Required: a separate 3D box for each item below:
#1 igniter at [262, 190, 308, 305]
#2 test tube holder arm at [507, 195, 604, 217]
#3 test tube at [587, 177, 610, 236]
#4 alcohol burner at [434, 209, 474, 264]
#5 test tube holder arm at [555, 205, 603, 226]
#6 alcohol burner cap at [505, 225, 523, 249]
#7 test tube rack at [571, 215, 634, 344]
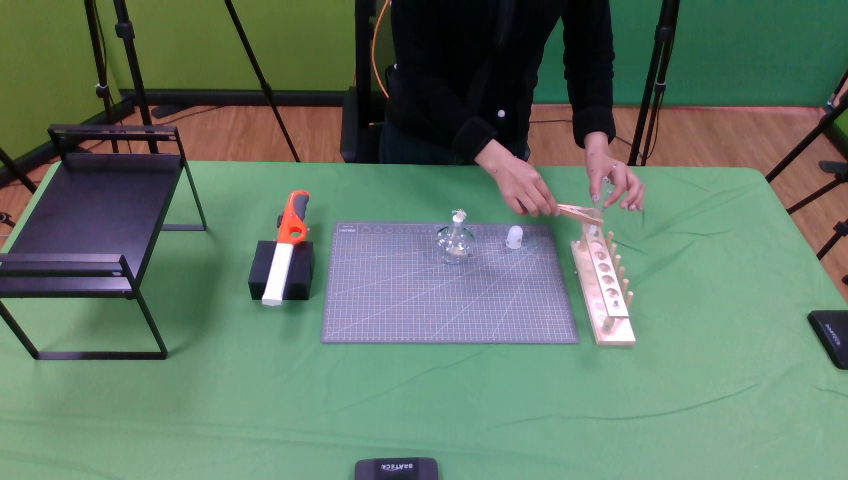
[{"bbox_3d":[-0.252,0.004,1.107,0.057,0.025,0.275,7,47,-6],"label":"igniter"},{"bbox_3d":[0.240,-0.062,1.109,0.178,0.015,0.013,9,49,-2],"label":"test tube holder arm"},{"bbox_3d":[0.313,-0.053,1.095,0.017,0.151,0.017,0,48,1],"label":"test tube"},{"bbox_3d":[0.058,-0.011,1.147,0.078,0.119,0.077,3,44,-3],"label":"alcohol burner"},{"bbox_3d":[0.282,-0.047,1.104,0.087,0.015,0.010,22,51,9],"label":"test tube holder arm"},{"bbox_3d":[0.180,-0.009,1.203,0.034,0.048,0.033,2,47,-2],"label":"alcohol burner cap"},{"bbox_3d":[0.334,0.067,1.116,0.067,0.085,0.241,1,46,-3],"label":"test tube rack"}]
